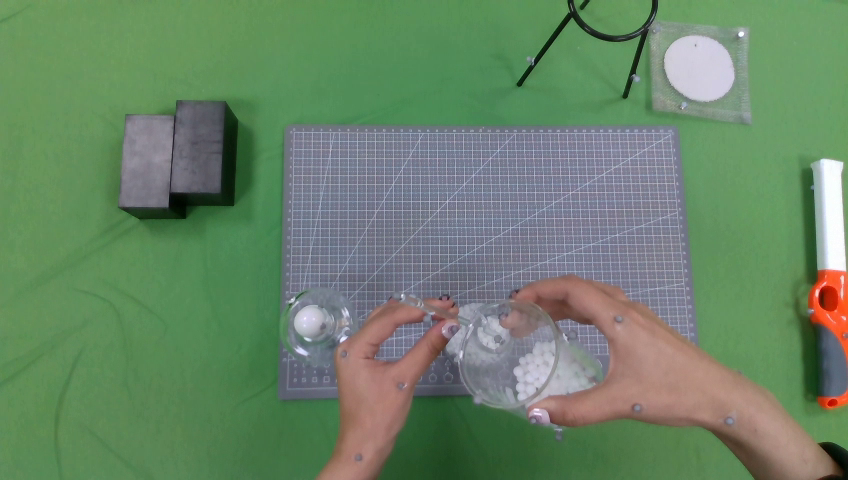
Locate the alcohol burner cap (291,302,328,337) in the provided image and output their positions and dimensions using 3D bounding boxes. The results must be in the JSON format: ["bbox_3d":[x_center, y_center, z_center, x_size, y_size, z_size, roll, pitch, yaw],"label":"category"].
[{"bbox_3d":[-0.106,0.072,0.552,0.034,0.048,0.034,1,83,-6],"label":"alcohol burner cap"}]

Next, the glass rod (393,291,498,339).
[{"bbox_3d":[0.024,0.062,0.480,0.008,0.201,0.008,-8,71,24],"label":"glass rod"}]

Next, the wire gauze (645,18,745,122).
[{"bbox_3d":[0.323,-0.205,0.719,0.125,0.011,0.121,6,80,-4],"label":"wire gauze"}]

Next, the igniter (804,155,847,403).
[{"bbox_3d":[0.447,0.040,0.672,0.057,0.025,0.275,7,80,-13],"label":"igniter"}]

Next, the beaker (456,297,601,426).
[{"bbox_3d":[0.078,0.089,0.437,0.074,0.101,0.083,-45,48,8],"label":"beaker"}]

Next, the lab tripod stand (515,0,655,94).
[{"bbox_3d":[0.175,-0.223,0.651,0.148,0.132,0.148,0,82,-2],"label":"lab tripod stand"}]

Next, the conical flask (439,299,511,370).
[{"bbox_3d":[0.056,0.090,0.591,0.075,0.122,0.075,1,79,-3],"label":"conical flask"}]

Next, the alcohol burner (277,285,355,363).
[{"bbox_3d":[-0.107,0.080,0.588,0.078,0.119,0.077,0,79,0],"label":"alcohol burner"}]
